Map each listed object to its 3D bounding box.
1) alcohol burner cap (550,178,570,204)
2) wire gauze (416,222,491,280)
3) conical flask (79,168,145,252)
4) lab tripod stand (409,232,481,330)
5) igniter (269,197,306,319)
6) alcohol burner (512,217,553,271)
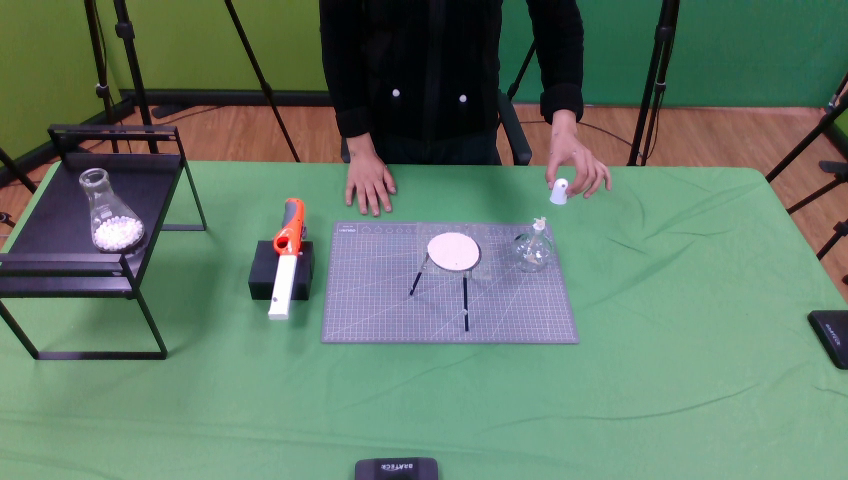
[{"bbox_3d":[0.256,-0.094,1.125,0.034,0.048,0.033,4,41,-3],"label":"alcohol burner cap"},{"bbox_3d":[0.048,0.014,1.013,0.125,0.011,0.120,3,46,-3],"label":"wire gauze"},{"bbox_3d":[-0.463,-0.048,0.888,0.075,0.122,0.075,2,46,-2],"label":"conical flask"},{"bbox_3d":[0.051,0.064,1.059,0.148,0.132,0.147,3,46,-3],"label":"lab tripod stand"},{"bbox_3d":[-0.246,0.023,1.087,0.057,0.025,0.274,-1,49,-2],"label":"igniter"},{"bbox_3d":[0.208,0.003,1.144,0.078,0.119,0.077,3,44,-3],"label":"alcohol burner"}]
